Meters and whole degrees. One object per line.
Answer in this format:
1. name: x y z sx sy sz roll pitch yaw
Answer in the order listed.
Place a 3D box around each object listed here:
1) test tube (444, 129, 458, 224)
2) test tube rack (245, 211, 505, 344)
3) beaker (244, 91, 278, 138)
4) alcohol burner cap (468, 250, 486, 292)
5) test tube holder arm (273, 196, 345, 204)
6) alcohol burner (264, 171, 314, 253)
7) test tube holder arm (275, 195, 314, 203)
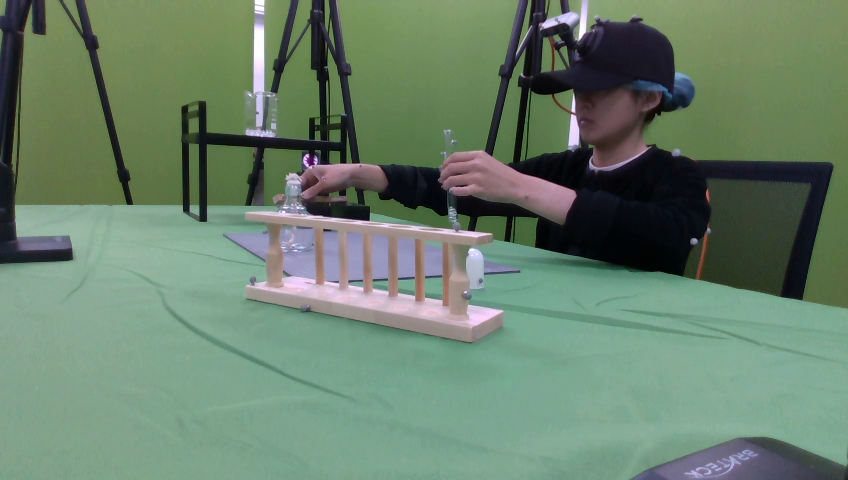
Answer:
1. test tube: 0.043 -0.101 0.964 0.017 0.150 0.017 -3 10 1
2. test tube rack: -0.049 0.025 0.547 0.241 0.085 0.067 7 8 29
3. beaker: -0.368 -0.280 1.356 0.074 0.100 0.084 4 8 6
4. alcohol burner cap: 0.056 0.035 0.690 0.034 0.048 0.034 2 7 0
5. test tube holder arm: -0.224 -0.079 1.196 0.013 0.015 0.179 -18 -9 36
6. alcohol burner: -0.194 -0.042 0.888 0.078 0.119 0.078 3 5 0
7. test tube holder arm: -0.247 -0.079 1.157 0.010 0.015 0.088 -19 -9 38
